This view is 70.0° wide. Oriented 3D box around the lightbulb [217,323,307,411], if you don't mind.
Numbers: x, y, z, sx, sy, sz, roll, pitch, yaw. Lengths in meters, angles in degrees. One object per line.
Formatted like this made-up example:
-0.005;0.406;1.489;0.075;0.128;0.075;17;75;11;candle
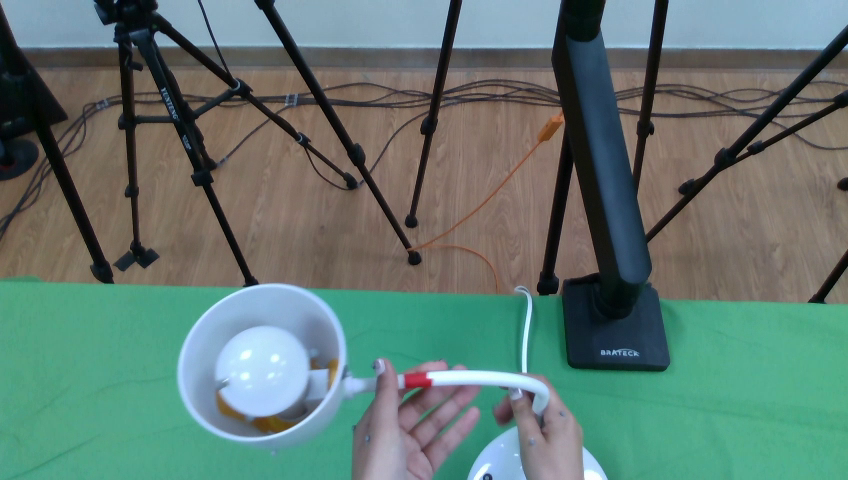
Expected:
-0.110;0.096;0.435;0.059;0.108;0.059;0;65;0;lightbulb

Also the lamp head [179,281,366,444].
-0.104;0.104;0.459;0.112;0.124;0.111;-3;61;6;lamp head

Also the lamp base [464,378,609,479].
0.113;0.222;0.592;0.161;0.182;0.177;-10;54;-2;lamp base
